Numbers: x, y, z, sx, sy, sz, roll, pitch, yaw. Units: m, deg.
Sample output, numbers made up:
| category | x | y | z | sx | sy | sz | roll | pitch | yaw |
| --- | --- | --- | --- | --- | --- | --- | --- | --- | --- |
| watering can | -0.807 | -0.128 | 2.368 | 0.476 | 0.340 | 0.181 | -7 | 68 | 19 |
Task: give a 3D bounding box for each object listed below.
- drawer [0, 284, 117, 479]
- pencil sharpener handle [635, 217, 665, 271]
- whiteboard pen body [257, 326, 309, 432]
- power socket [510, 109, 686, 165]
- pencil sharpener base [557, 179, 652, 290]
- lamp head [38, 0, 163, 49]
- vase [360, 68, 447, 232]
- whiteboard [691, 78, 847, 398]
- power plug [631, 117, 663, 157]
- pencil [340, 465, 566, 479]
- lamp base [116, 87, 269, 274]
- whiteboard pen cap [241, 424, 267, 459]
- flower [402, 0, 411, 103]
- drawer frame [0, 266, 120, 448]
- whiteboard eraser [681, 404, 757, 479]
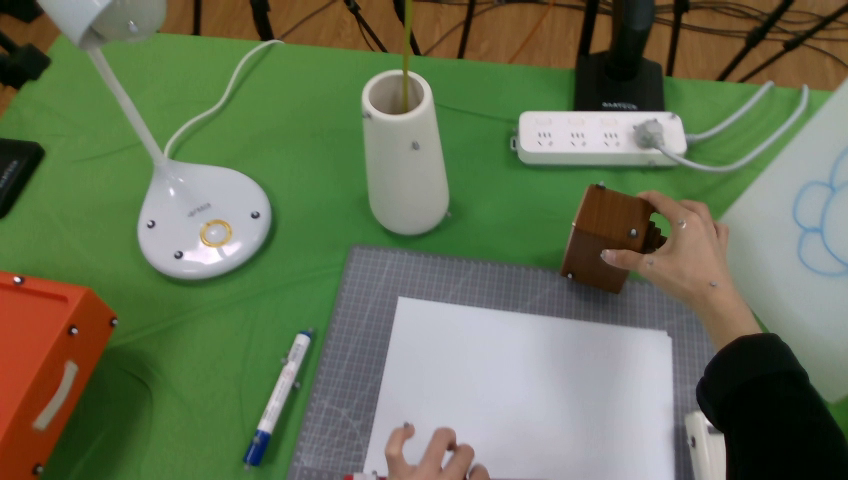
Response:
| category | x | y | z | sx | sy | sz | roll | pitch | yaw |
| --- | --- | --- | --- | --- | --- | --- | --- | --- | --- |
| drawer | -0.443 | 0.122 | 0.580 | 0.211 | 0.074 | 0.193 | 10 | 60 | 8 |
| pencil sharpener handle | 0.239 | 0.007 | 0.626 | 0.030 | 0.068 | 0.036 | 19 | 58 | 14 |
| whiteboard pen body | -0.151 | 0.153 | 0.636 | 0.017 | 0.017 | 0.140 | 11 | 56 | 10 |
| power socket | 0.227 | -0.135 | 0.791 | 0.227 | 0.033 | 0.071 | 2 | 60 | 3 |
| pencil sharpener base | 0.193 | -0.003 | 0.649 | 0.076 | 0.108 | 0.061 | 19 | 61 | 14 |
| lamp head | -0.249 | -0.217 | 0.434 | 0.123 | 0.112 | 0.112 | 47 | 65 | -15 |
| vase | -0.025 | -0.094 | 0.679 | 0.098 | 0.202 | 0.097 | -2 | 58 | 3 |
| whiteboard | 0.463 | -0.023 | 0.590 | 0.144 | 0.307 | 0.215 | -11 | 56 | -26 |
| power plug | 0.275 | -0.121 | 0.753 | 0.035 | 0.053 | 0.072 | 11 | 61 | 9 |
| pencil | 0.024 | 0.202 | 0.522 | 0.194 | 0.012 | 0.012 | 0 | 58 | 3 |
| lamp base | -0.284 | -0.076 | 0.689 | 0.177 | 0.182 | 0.160 | 37 | 66 | 25 |
| whiteboard pen cap | -0.168 | 0.200 | 0.604 | 0.018 | 0.018 | 0.033 | 11 | 54 | 10 |
| flower | -0.019 | -0.152 | 0.617 | 0.038 | 0.365 | 0.043 | -3 | 40 | -7 |
| drawer frame | -0.449 | 0.124 | 0.582 | 0.213 | 0.083 | 0.200 | 10 | 60 | 6 |
| whiteboard eraser | 0.278 | 0.213 | 0.569 | 0.055 | 0.042 | 0.111 | 3 | 59 | 2 |
